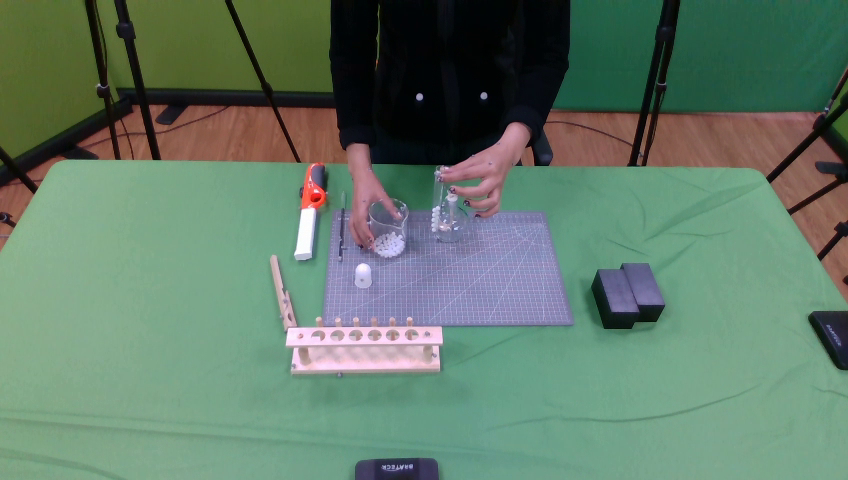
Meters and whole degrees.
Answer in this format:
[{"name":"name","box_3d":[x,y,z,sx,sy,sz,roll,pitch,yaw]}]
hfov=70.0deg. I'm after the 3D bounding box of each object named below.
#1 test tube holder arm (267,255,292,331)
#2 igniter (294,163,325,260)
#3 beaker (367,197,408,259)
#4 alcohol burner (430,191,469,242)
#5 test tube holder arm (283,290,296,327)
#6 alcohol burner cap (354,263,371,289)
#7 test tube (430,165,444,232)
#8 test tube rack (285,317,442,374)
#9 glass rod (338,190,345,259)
[{"name":"test tube holder arm","box_3d":[-0.261,0.091,1.092,0.013,0.015,0.177,15,34,-40]},{"name":"igniter","box_3d":[-0.234,-0.067,1.243,0.057,0.025,0.274,-6,46,4]},{"name":"beaker","box_3d":[-0.067,-0.018,1.154,0.074,0.101,0.083,-25,53,-25]},{"name":"alcohol burner","box_3d":[0.051,-0.053,1.185,0.078,0.119,0.077,2,48,-2]},{"name":"test tube holder arm","box_3d":[-0.241,0.123,1.067,0.010,0.015,0.087,16,33,-39]},{"name":"alcohol burner cap","box_3d":[-0.113,0.063,1.111,0.034,0.048,0.033,2,45,-2]},{"name":"test tube","box_3d":[0.022,-0.068,1.042,0.017,0.151,0.017,2,48,-2]},{"name":"test tube rack","box_3d":[-0.095,0.166,0.988,0.242,0.085,0.066,0,46,-4]},{"name":"glass rod","box_3d":[-0.166,-0.036,1.227,0.008,0.008,0.198,0,46,-4]}]
